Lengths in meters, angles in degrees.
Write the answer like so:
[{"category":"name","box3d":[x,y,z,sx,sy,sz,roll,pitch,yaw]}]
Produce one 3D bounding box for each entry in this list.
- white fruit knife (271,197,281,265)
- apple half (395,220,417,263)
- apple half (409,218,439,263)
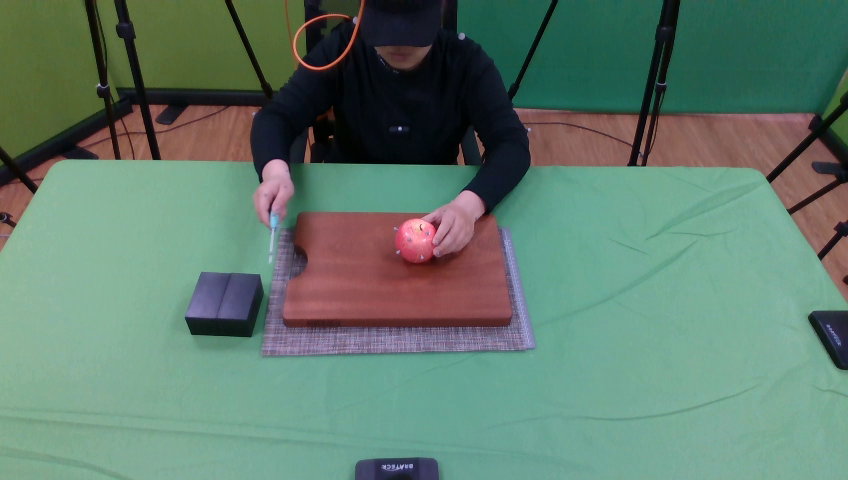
[{"category":"white fruit knife","box3d":[-0.265,-0.020,1.075,0.016,0.027,0.206,-3,35,-9]},{"category":"apple half","box3d":[-0.037,0.007,1.112,0.033,0.081,0.080,-8,47,-16]},{"category":"apple half","box3d":[0.000,0.001,1.123,0.053,0.075,0.080,-7,42,-17]}]
